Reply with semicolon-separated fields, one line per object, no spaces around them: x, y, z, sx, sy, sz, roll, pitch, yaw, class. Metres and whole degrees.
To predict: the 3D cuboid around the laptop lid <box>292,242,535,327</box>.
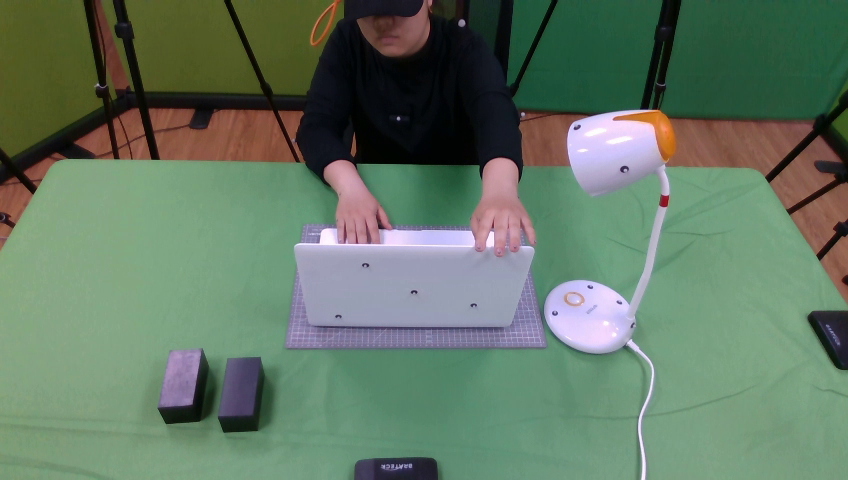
-0.018;0.078;0.958;0.357;0.243;0.013;2;52;-5;laptop lid

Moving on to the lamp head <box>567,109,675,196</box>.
0.272;-0.123;0.818;0.122;0.113;0.112;-9;35;37;lamp head

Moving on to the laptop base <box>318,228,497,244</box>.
-0.028;0.066;1.135;0.355;0.023;0.234;1;43;-4;laptop base

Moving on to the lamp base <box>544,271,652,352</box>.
0.310;0.086;1.029;0.178;0.181;0.160;32;52;21;lamp base
